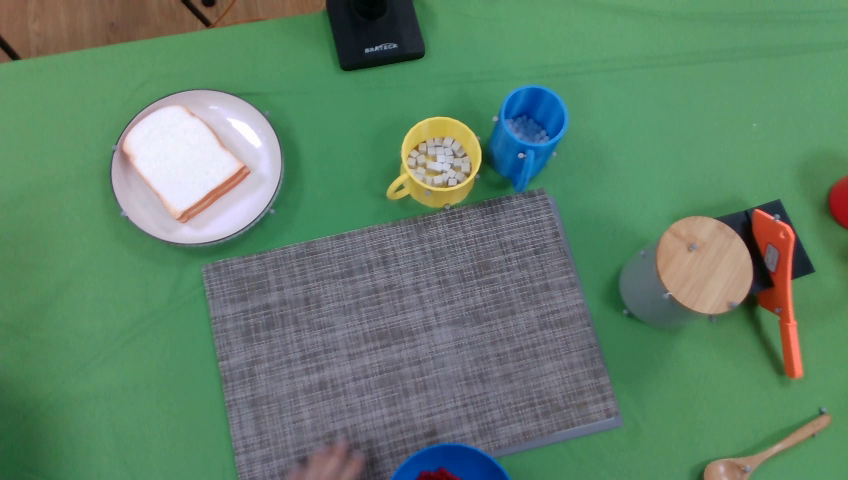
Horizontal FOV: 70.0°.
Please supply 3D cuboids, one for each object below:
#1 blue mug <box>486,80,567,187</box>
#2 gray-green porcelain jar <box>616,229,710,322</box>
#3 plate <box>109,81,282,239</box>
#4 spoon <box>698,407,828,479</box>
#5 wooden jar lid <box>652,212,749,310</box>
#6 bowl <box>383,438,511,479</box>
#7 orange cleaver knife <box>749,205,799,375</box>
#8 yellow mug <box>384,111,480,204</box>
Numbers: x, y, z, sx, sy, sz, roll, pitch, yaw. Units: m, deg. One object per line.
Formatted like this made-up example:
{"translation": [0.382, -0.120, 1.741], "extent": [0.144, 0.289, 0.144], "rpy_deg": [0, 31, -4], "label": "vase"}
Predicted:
{"translation": [0.125, -0.124, 0.762], "extent": [0.082, 0.106, 0.116], "rpy_deg": [7, 75, -1], "label": "blue mug"}
{"translation": [0.295, 0.040, 0.720], "extent": [0.106, 0.127, 0.105], "rpy_deg": [1, 75, -4], "label": "gray-green porcelain jar"}
{"translation": [-0.282, -0.098, 0.762], "extent": [0.208, 0.039, 0.206], "rpy_deg": [1, 75, -4], "label": "plate"}
{"translation": [0.412, 0.247, 0.727], "extent": [0.194, 0.022, 0.041], "rpy_deg": [-23, 60, -9], "label": "spoon"}
{"translation": [0.298, 0.023, 0.659], "extent": [0.108, 0.021, 0.108], "rpy_deg": [2, 77, -6], "label": "wooden jar lid"}
{"translation": [0.022, 0.291, 0.661], "extent": [0.151, 0.077, 0.150], "rpy_deg": [1, 76, -3], "label": "bowl"}
{"translation": [0.429, 0.061, 0.746], "extent": [0.012, 0.077, 0.212], "rpy_deg": [-14, 103, -7], "label": "orange cleaver knife"}
{"translation": [0.005, -0.095, 0.766], "extent": [0.131, 0.064, 0.099], "rpy_deg": [-34, 79, -10], "label": "yellow mug"}
